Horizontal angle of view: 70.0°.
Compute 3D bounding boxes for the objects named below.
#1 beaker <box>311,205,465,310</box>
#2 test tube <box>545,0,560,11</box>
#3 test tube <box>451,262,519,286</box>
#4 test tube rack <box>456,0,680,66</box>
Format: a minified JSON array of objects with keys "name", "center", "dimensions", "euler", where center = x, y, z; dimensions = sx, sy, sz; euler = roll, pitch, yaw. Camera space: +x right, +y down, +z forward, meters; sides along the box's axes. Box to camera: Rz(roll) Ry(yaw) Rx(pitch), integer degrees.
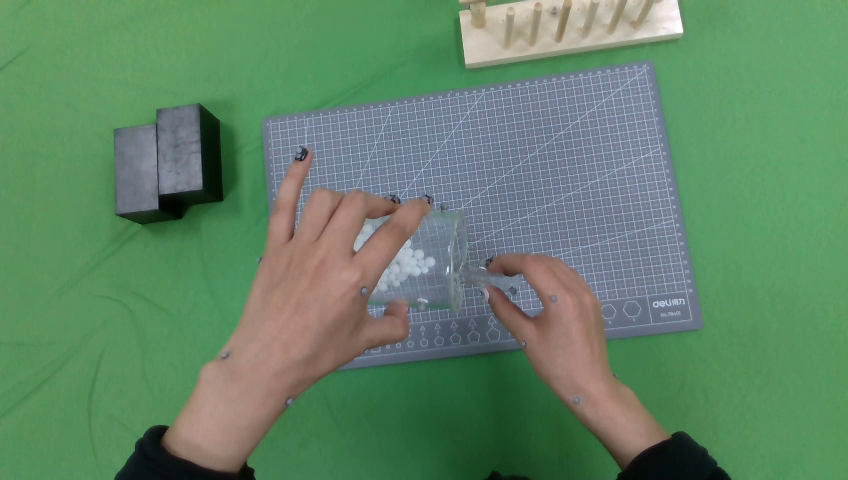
[{"name":"beaker","center":[-0.024,0.012,0.442],"dimensions":[0.100,0.084,0.073],"euler":[2,73,10]},{"name":"test tube","center":[0.139,-0.280,0.611],"dimensions":[0.017,0.151,0.017],"euler":[-1,77,3]},{"name":"test tube","center":[0.058,0.031,0.538],"dimensions":[0.017,0.151,0.017],"euler":[-2,84,24]},{"name":"test tube rack","center":[0.157,-0.255,0.655],"dimensions":[0.242,0.085,0.066],"euler":[-7,80,5]}]
